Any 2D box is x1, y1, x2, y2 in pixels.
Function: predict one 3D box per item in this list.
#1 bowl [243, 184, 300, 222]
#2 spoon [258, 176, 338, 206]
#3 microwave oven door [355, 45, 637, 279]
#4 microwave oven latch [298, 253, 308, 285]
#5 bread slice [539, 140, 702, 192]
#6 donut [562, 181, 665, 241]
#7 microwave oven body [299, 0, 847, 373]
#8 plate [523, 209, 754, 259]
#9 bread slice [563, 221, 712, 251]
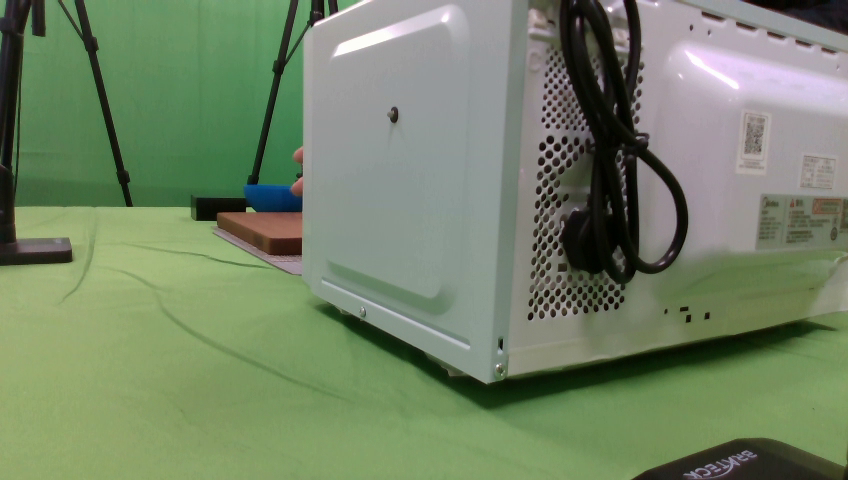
[{"bbox_3d":[-0.321,-0.081,1.333,0.151,0.077,0.151,3,7,0],"label":"bowl"},{"bbox_3d":[-0.279,-0.112,1.357,0.194,0.021,0.041,-27,19,-26],"label":"spoon"},{"bbox_3d":[0.098,-0.083,0.708,0.357,0.243,0.039,-1,8,-25],"label":"microwave oven door"},{"bbox_3d":[-0.081,0.027,0.583,0.079,0.029,0.030,-2,8,-33],"label":"microwave oven latch"},{"bbox_3d":[0.193,-0.072,0.581,0.107,0.018,0.133,-1,20,-35],"label":"bread slice"},{"bbox_3d":[0.187,-0.030,0.601,0.099,0.048,0.099,10,-8,2],"label":"donut"},{"bbox_3d":[0.151,-0.055,0.543,0.444,0.260,0.324,-2,8,-33],"label":"microwave oven body"},{"bbox_3d":[0.200,-0.007,0.583,0.208,0.039,0.207,-1,4,0],"label":"plate"},{"bbox_3d":[0.207,-0.006,0.577,0.105,0.019,0.131,2,5,-11],"label":"bread slice"}]
